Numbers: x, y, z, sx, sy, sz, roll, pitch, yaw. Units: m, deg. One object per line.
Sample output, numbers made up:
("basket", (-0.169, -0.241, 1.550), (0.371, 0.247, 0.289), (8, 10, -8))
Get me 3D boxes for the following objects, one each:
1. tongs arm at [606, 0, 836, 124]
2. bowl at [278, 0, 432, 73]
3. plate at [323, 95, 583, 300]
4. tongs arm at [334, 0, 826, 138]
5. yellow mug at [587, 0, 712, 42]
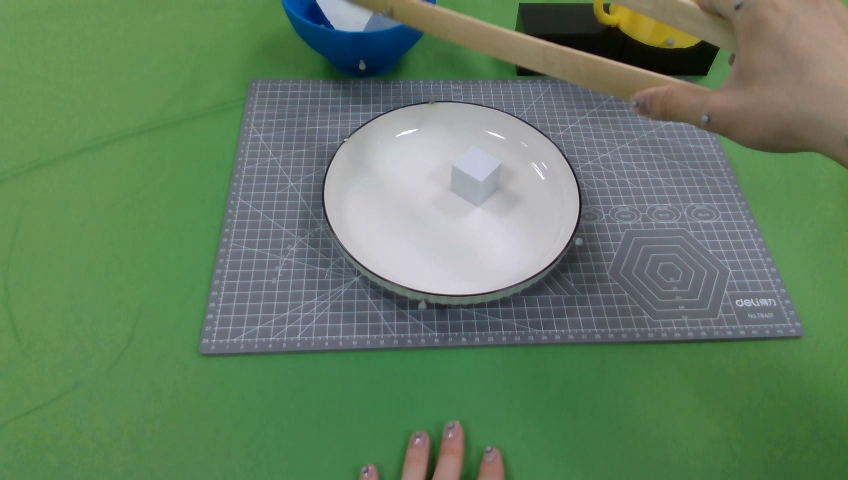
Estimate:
("tongs arm", (0.114, -0.186, 0.454), (0.381, 0.027, 0.050), (36, 68, 31))
("bowl", (-0.066, -0.222, 0.606), (0.151, 0.077, 0.150), (1, 54, -1))
("plate", (0.023, -0.037, 0.499), (0.208, 0.039, 0.205), (1, 55, -1))
("tongs arm", (0.070, -0.142, 0.434), (0.384, 0.028, 0.028), (27, 61, 28))
("yellow mug", (0.217, -0.243, 0.578), (0.131, 0.064, 0.099), (-15, 56, -11))
